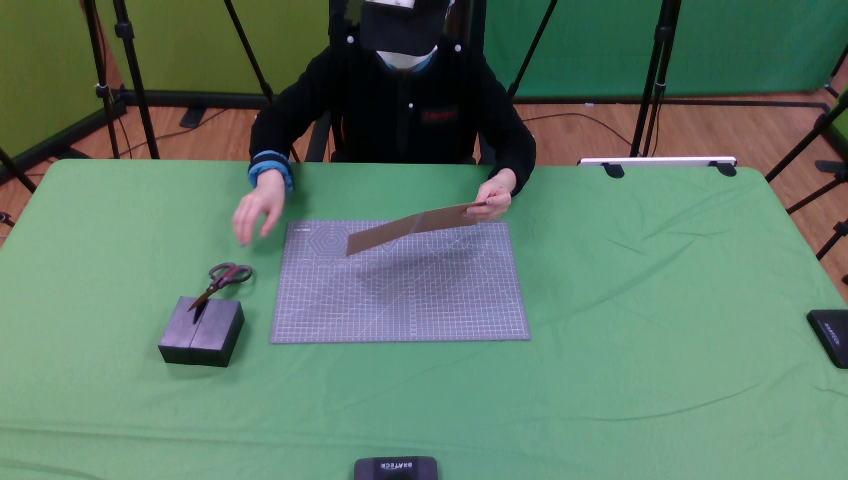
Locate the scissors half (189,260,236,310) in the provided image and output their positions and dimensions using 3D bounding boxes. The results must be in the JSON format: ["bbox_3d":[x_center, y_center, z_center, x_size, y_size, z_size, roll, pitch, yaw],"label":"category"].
[{"bbox_3d":[-0.372,0.077,1.056,0.040,0.013,0.174,12,24,-3],"label":"scissors half"}]

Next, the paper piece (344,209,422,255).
[{"bbox_3d":[-0.076,-0.013,1.077,0.136,0.135,0.004,-19,77,-15],"label":"paper piece"}]

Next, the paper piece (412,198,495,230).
[{"bbox_3d":[0.049,-0.044,1.110,0.138,0.136,0.008,-9,78,-12],"label":"paper piece"}]

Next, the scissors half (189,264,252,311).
[{"bbox_3d":[-0.352,0.082,1.055,0.040,0.013,0.175,14,25,14],"label":"scissors half"}]
